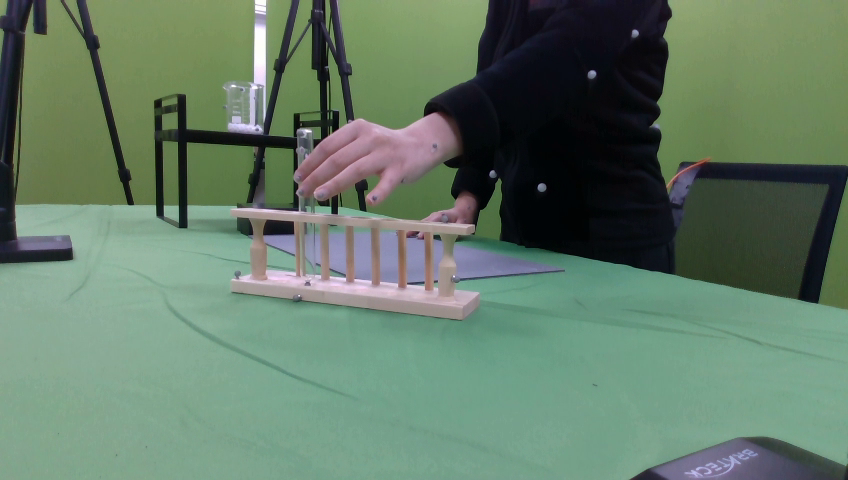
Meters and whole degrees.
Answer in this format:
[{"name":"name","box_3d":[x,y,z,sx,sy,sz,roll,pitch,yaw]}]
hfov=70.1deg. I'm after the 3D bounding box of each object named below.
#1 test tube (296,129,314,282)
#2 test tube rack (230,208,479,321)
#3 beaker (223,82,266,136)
[{"name":"test tube","box_3d":[-0.117,-0.033,0.592,0.017,0.150,0.017,0,6,0]},{"name":"test tube rack","box_3d":[-0.069,0.018,0.598,0.242,0.085,0.067,5,7,18]},{"name":"beaker","box_3d":[-0.362,-0.262,1.214,0.084,0.100,0.074,2,7,-1]}]
